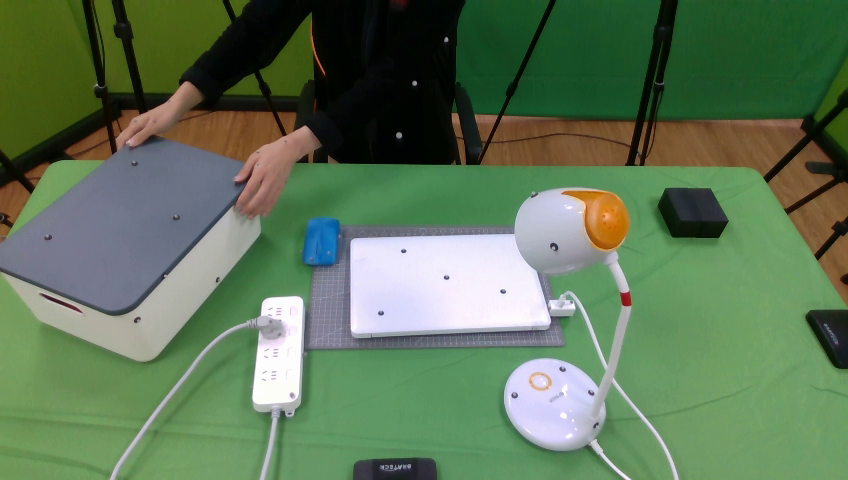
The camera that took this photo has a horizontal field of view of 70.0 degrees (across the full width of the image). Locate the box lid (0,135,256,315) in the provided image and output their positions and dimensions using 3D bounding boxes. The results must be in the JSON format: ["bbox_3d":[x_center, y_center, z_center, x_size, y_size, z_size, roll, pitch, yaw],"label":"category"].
[{"bbox_3d":[-0.480,-0.044,1.002,0.263,0.015,0.370,18,47,12],"label":"box lid"}]

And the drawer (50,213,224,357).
[{"bbox_3d":[-0.492,0.075,1.057,0.194,0.073,0.211,18,57,10],"label":"drawer"}]

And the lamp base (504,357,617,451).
[{"bbox_3d":[0.220,0.211,0.903,0.160,0.181,0.178,-33,59,-30],"label":"lamp base"}]

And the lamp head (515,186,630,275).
[{"bbox_3d":[0.188,-0.013,0.728,0.112,0.112,0.122,-25,9,-25],"label":"lamp head"}]

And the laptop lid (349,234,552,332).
[{"bbox_3d":[0.040,0.071,1.117,0.357,0.013,0.240,0,44,-5],"label":"laptop lid"}]

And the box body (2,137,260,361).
[{"bbox_3d":[-0.482,0.006,1.056,0.254,0.161,0.362,17,47,12],"label":"box body"}]

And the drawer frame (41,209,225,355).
[{"bbox_3d":[-0.490,0.066,1.043,0.201,0.083,0.212,16,54,13],"label":"drawer frame"}]

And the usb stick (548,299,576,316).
[{"bbox_3d":[0.239,0.121,1.083,0.059,0.027,0.021,-1,50,-2],"label":"usb stick"}]

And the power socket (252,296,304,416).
[{"bbox_3d":[-0.238,0.181,0.997,0.072,0.033,0.225,-3,47,-5],"label":"power socket"}]

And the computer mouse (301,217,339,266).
[{"bbox_3d":[-0.200,-0.002,1.169,0.063,0.041,0.116,3,50,-3],"label":"computer mouse"}]

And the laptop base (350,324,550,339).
[{"bbox_3d":[0.039,0.081,1.124,0.355,0.023,0.234,-2,43,-6],"label":"laptop base"}]

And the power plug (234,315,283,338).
[{"bbox_3d":[-0.270,0.143,1.000,0.072,0.053,0.035,5,47,2],"label":"power plug"}]
